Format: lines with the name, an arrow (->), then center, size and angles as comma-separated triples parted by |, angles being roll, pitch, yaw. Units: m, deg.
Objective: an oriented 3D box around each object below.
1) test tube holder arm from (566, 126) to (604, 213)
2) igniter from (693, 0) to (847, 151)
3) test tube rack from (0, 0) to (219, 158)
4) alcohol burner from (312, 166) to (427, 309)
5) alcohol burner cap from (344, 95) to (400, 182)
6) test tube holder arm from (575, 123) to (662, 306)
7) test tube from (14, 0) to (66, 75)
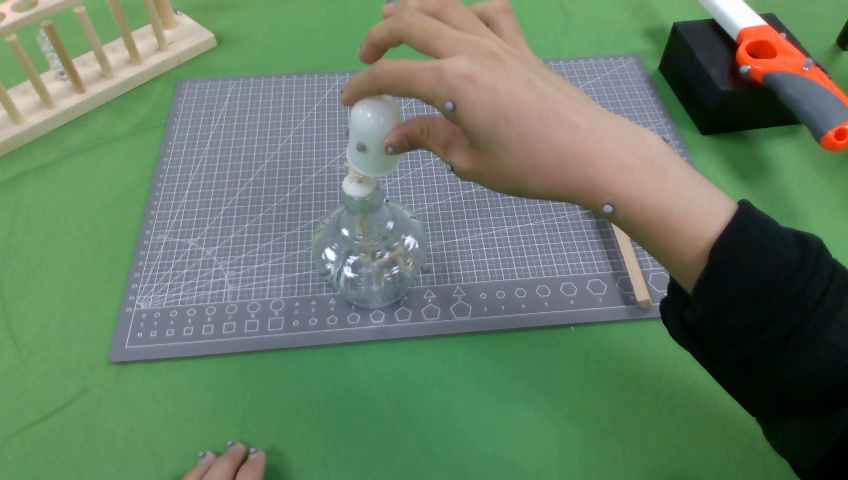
test tube holder arm -> 0.135, -0.059, 0.500 | 0.010, 0.015, 0.087 | -29, 50, 24
igniter -> 0.287, -0.171, 0.523 | 0.057, 0.025, 0.273 | -10, 50, -4
test tube rack -> -0.316, -0.171, 0.545 | 0.066, 0.086, 0.242 | 37, 60, 25
alcohol burner -> -0.037, -0.007, 0.396 | 0.078, 0.120, 0.077 | 0, 54, 1
alcohol burner cap -> -0.028, -0.059, 0.336 | 0.034, 0.048, 0.033 | 4, 59, -6
test tube holder arm -> 0.147, -0.026, 0.471 | 0.013, 0.015, 0.176 | -31, 49, 23
test tube -> -0.338, -0.206, 0.509 | 0.017, 0.151, 0.017 | 0, 48, 0
